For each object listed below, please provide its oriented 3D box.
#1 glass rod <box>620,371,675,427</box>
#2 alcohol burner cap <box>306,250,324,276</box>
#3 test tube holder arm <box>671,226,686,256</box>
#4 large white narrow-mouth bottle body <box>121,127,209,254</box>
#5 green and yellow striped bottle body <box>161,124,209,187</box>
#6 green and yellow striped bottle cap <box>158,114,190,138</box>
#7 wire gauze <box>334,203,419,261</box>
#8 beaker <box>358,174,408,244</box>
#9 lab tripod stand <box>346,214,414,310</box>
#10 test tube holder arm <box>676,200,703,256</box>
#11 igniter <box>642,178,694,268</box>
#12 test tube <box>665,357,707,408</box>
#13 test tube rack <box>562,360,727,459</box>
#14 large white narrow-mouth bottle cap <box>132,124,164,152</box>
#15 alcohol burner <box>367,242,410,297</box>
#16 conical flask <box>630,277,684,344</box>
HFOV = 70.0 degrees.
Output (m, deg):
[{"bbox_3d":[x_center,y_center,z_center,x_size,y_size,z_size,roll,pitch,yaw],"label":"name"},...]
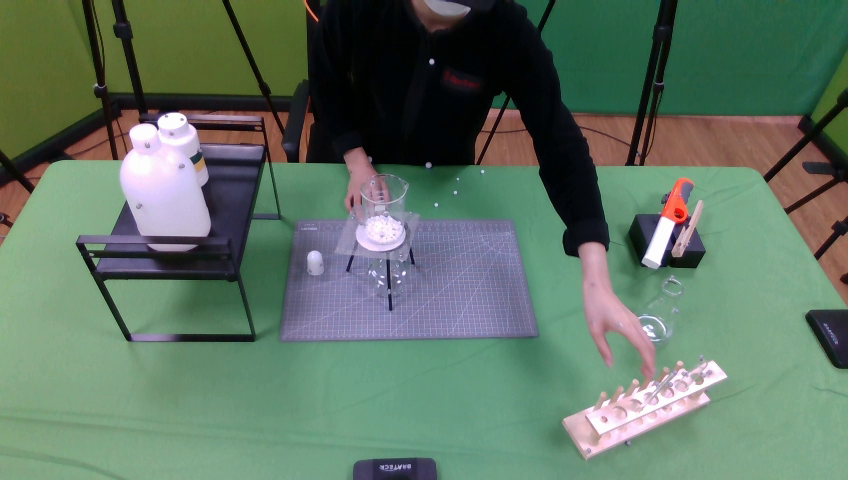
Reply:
[{"bbox_3d":[0.315,0.230,0.862,0.008,0.200,0.008,3,53,-3],"label":"glass rod"},{"bbox_3d":[-0.204,0.041,1.125,0.034,0.048,0.033,2,46,-2],"label":"alcohol burner cap"},{"bbox_3d":[0.494,0.001,1.166,0.010,0.015,0.087,2,37,41],"label":"test tube holder arm"},{"bbox_3d":[-0.377,-0.077,0.875,0.102,0.195,0.101,3,46,-3],"label":"large white narrow-mouth bottle body"},{"bbox_3d":[-0.395,-0.145,0.989,0.063,0.120,0.063,2,46,-2],"label":"green and yellow striped bottle body"},{"bbox_3d":[-0.392,-0.179,0.951,0.045,0.020,0.045,2,44,-2],"label":"green and yellow striped bottle cap"},{"bbox_3d":[-0.079,-0.013,1.031,0.121,0.011,0.124,8,48,7],"label":"wire gauze"},{"bbox_3d":[-0.066,-0.050,1.001,0.084,0.101,0.073,-18,49,-20],"label":"beaker"},{"bbox_3d":[-0.075,0.030,1.082,0.148,0.132,0.147,1,47,-1],"label":"lab tripod stand"},{"bbox_3d":[0.523,-0.025,1.190,0.013,0.015,0.178,2,36,41],"label":"test tube holder arm"},{"bbox_3d":[0.488,-0.042,1.205,0.057,0.025,0.276,30,52,11],"label":"igniter"},{"bbox_3d":[0.387,0.216,0.905,0.017,0.151,0.017,1,52,-1],"label":"test tube"},{"bbox_3d":[0.341,0.248,0.940,0.243,0.085,0.066,-16,49,-18],"label":"test tube rack"},{"bbox_3d":[-0.370,-0.137,0.813,0.038,0.024,0.037,3,46,-3],"label":"large white narrow-mouth bottle cap"},{"bbox_3d":[-0.064,0.047,1.080,0.078,0.120,0.077,1,47,-1],"label":"alcohol burner"},{"bbox_3d":[0.408,0.117,1.045,0.075,0.122,0.075,2,46,-2],"label":"conical flask"}]
